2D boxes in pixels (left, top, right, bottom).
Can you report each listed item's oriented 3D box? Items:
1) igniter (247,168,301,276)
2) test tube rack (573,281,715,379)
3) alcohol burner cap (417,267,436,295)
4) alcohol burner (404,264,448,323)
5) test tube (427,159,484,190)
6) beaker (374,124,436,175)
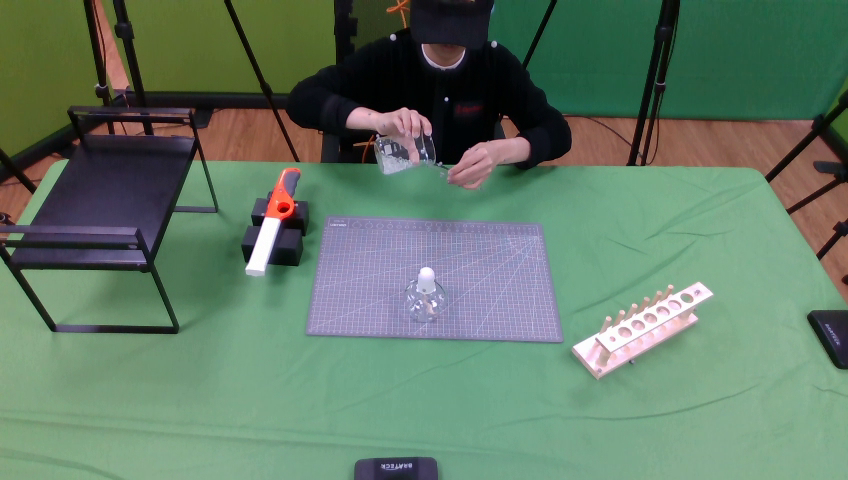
[{"bbox_3d":[-0.282,-0.043,1.149,0.057,0.025,0.275,8,48,-1],"label":"igniter"},{"bbox_3d":[0.378,0.140,1.038,0.242,0.085,0.066,-22,51,-23],"label":"test tube rack"},{"bbox_3d":[0.004,0.066,1.019,0.034,0.048,0.033,0,47,1],"label":"alcohol burner cap"},{"bbox_3d":[0.003,0.087,1.042,0.078,0.120,0.077,1,45,0],"label":"alcohol burner"},{"bbox_3d":[0.065,-0.127,1.198,0.151,0.017,0.017,21,34,-38],"label":"test tube"},{"bbox_3d":[-0.036,-0.163,1.118,0.100,0.084,0.073,-16,41,-10],"label":"beaker"}]
